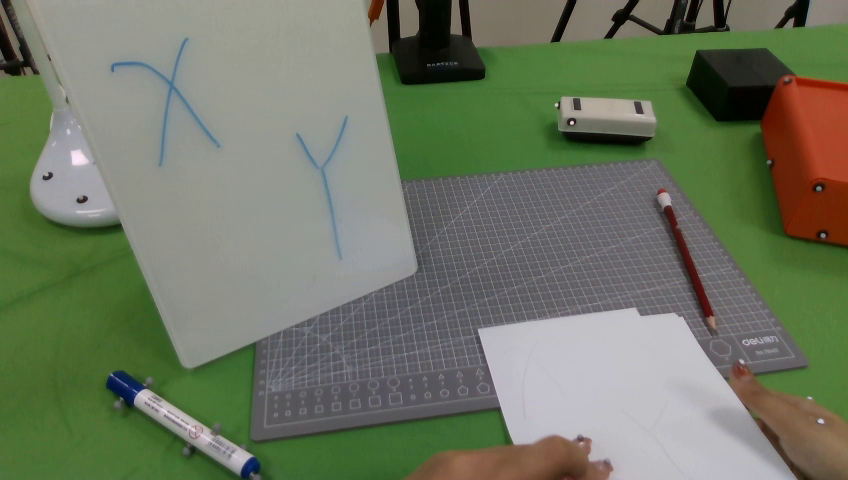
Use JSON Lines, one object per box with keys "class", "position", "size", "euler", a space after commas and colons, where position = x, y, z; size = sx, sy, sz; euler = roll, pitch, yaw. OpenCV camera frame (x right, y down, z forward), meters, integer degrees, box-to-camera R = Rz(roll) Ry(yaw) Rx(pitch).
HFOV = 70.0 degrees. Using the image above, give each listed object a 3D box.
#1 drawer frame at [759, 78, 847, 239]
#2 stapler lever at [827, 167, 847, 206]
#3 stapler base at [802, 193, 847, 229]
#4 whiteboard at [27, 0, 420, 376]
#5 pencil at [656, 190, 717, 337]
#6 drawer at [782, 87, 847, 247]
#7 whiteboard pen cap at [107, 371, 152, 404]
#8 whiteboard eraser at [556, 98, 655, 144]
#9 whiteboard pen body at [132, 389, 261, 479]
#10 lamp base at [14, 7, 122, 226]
{"class": "drawer frame", "position": [0.484, -0.079, 0.644], "size": [0.201, 0.083, 0.212], "euler": [10, 43, 10]}
{"class": "stapler lever", "position": [0.460, -0.044, 0.595], "size": [0.118, 0.040, 0.026], "euler": [10, 57, 8]}
{"class": "stapler base", "position": [0.460, -0.029, 0.616], "size": [0.130, 0.024, 0.041], "euler": [10, 57, 8]}
{"class": "whiteboard", "position": [-0.153, -0.085, 0.512], "size": [0.217, 0.308, 0.142], "euler": [-22, 28, -22]}
{"class": "pencil", "position": [0.252, 0.016, 0.585], "size": [0.012, 0.012, 0.192], "euler": [1, 44, 1]}
{"class": "drawer", "position": [0.484, -0.075, 0.642], "size": [0.194, 0.074, 0.210], "euler": [11, 43, 12]}
{"class": "whiteboard pen cap", "position": [-0.225, 0.114, 0.464], "size": [0.033, 0.018, 0.018], "euler": [21, 46, 24]}
{"class": "whiteboard eraser", "position": [0.220, -0.144, 0.739], "size": [0.112, 0.042, 0.055], "euler": [5, 44, 4]}
{"class": "whiteboard pen body", "position": [-0.175, 0.135, 0.442], "size": [0.140, 0.017, 0.017], "euler": [22, 46, 22]}
{"class": "lamp base", "position": [-0.345, -0.131, 0.607], "size": [0.178, 0.182, 0.160], "euler": [22, 47, 25]}
